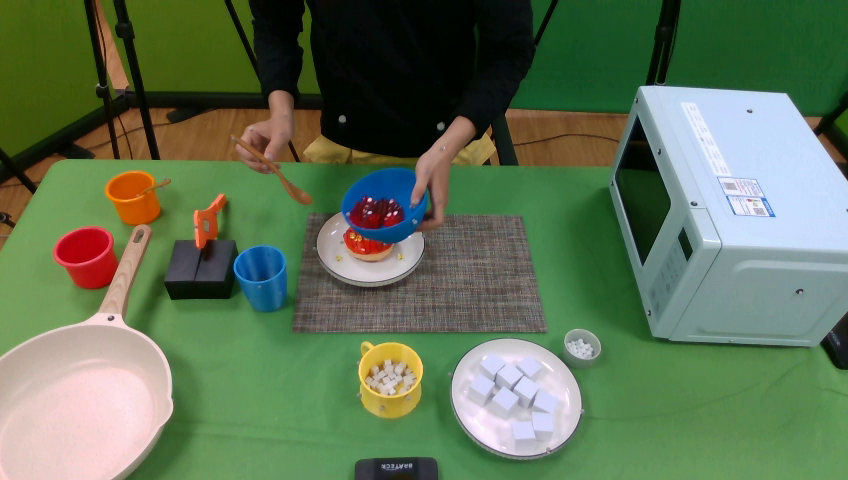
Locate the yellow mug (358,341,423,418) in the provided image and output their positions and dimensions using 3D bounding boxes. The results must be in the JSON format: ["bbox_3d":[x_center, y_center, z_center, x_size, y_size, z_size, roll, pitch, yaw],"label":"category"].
[{"bbox_3d":[-0.063,0.210,0.961,0.100,0.064,0.130,-29,54,-27],"label":"yellow mug"}]

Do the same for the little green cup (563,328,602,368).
[{"bbox_3d":[0.265,0.184,1.025,0.061,0.039,0.061,1,46,-1],"label":"little green cup"}]

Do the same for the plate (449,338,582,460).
[{"bbox_3d":[0.141,0.251,0.955,0.208,0.039,0.206,2,47,-2],"label":"plate"}]

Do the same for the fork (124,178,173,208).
[{"bbox_3d":[-0.525,-0.089,1.153,0.207,0.019,0.028,-18,27,45],"label":"fork"}]

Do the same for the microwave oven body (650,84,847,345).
[{"bbox_3d":[0.569,-0.054,1.116,0.326,0.261,0.439,2,46,-1],"label":"microwave oven body"}]

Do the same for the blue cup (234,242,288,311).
[{"bbox_3d":[-0.276,0.072,1.052,0.093,0.101,0.092,1,48,-1],"label":"blue cup"}]

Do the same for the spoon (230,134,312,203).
[{"bbox_3d":[-0.270,-0.127,1.081,0.021,0.195,0.041,-28,42,16],"label":"spoon"}]

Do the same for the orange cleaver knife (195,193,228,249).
[{"bbox_3d":[-0.406,-0.041,1.163,0.012,0.077,0.210,0,18,-3],"label":"orange cleaver knife"}]

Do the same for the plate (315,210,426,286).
[{"bbox_3d":[-0.101,0.012,1.160,0.209,0.038,0.208,2,46,-2],"label":"plate"}]

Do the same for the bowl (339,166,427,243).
[{"bbox_3d":[-0.060,-0.047,1.041,0.151,0.077,0.150,-8,48,10],"label":"bowl"}]

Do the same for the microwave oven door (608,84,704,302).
[{"bbox_3d":[0.424,-0.096,1.138,0.039,0.245,0.353,2,47,-1],"label":"microwave oven door"}]

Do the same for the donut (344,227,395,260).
[{"bbox_3d":[-0.103,-0.002,1.157,0.099,0.048,0.098,2,44,-2],"label":"donut"}]

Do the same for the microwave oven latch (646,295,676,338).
[{"bbox_3d":[0.413,0.133,1.060,0.030,0.029,0.078,4,46,1],"label":"microwave oven latch"}]

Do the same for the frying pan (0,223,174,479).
[{"bbox_3d":[-0.505,0.169,0.941,0.307,0.103,0.485,5,54,-1],"label":"frying pan"}]
